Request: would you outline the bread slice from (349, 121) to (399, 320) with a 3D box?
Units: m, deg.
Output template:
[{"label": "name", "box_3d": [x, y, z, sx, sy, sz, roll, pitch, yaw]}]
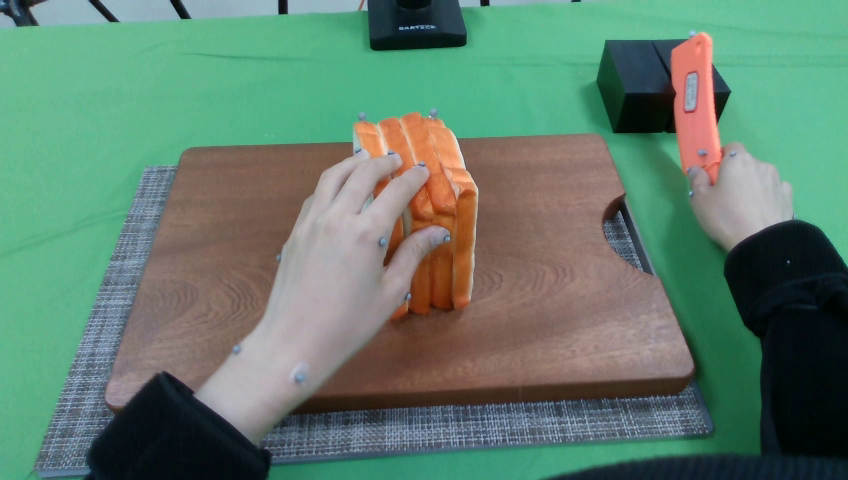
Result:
[{"label": "bread slice", "box_3d": [-0.038, -0.022, 0.446, 0.018, 0.108, 0.133, -7, 40, -11]}]

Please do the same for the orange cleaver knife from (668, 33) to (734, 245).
[{"label": "orange cleaver knife", "box_3d": [0.253, -0.093, 0.563, 0.012, 0.077, 0.210, 0, 76, -5]}]

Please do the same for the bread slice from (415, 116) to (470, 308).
[{"label": "bread slice", "box_3d": [0.012, -0.031, 0.451, 0.019, 0.106, 0.130, -7, 42, -7]}]
